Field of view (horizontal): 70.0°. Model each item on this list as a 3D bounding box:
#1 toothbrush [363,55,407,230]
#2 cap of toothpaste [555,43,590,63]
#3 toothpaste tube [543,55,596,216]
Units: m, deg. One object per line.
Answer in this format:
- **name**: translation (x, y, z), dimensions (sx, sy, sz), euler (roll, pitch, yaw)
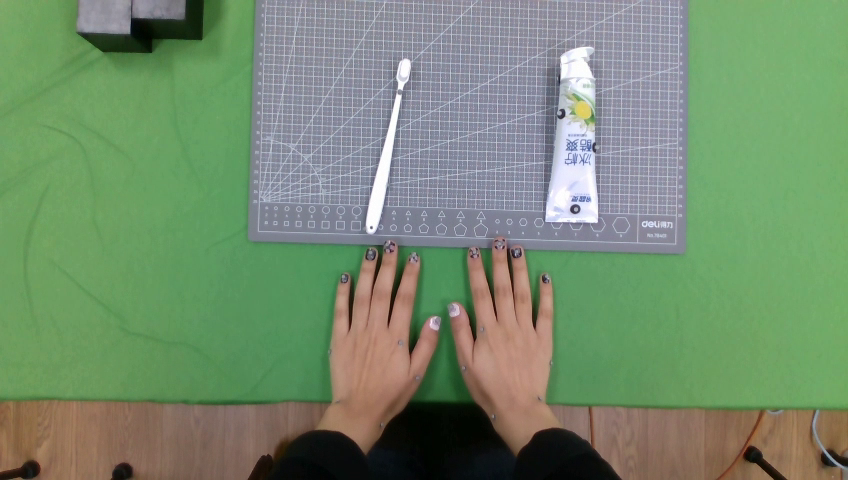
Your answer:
- **toothbrush**: translation (-0.039, -0.099, 0.613), dimensions (0.014, 0.016, 0.181), euler (12, 89, -17)
- **cap of toothpaste**: translation (0.151, -0.189, 0.615), dimensions (0.037, 0.037, 0.011), euler (-11, 85, -3)
- **toothpaste tube**: translation (0.150, -0.107, 0.619), dimensions (0.055, 0.034, 0.165), euler (0, 92, 4)
